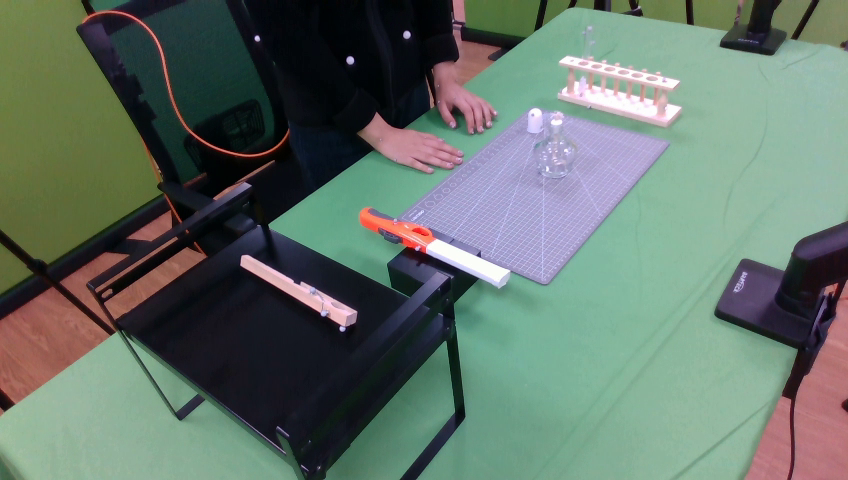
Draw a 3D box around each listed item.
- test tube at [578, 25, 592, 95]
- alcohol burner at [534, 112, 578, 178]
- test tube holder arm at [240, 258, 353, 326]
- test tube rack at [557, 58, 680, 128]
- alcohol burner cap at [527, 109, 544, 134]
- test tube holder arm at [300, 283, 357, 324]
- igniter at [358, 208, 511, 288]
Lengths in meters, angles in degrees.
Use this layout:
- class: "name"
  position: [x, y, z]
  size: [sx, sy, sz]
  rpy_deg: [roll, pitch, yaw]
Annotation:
- class: "test tube"
  position: [0.326, -0.362, 1.227]
  size: [0.017, 0.151, 0.017]
  rpy_deg: [-3, 44, 4]
- class: "alcohol burner"
  position: [0.232, -0.170, 1.065]
  size: [0.078, 0.119, 0.077]
  rpy_deg: [-5, 39, 5]
- class: "test tube holder arm"
  position: [-0.143, 0.053, 0.658]
  size: [0.177, 0.015, 0.013]
  rpy_deg: [21, 14, 32]
- class: "test tube rack"
  position: [0.395, -0.309, 1.230]
  size: [0.240, 0.085, 0.067]
  rpy_deg: [25, 50, 33]
- class: "alcohol burner cap"
  position: [0.222, -0.238, 1.203]
  size: [0.034, 0.048, 0.033]
  rpy_deg: [-5, 41, 5]
- class: "test tube holder arm"
  position: [-0.105, 0.066, 0.638]
  size: [0.087, 0.015, 0.010]
  rpy_deg: [21, 14, 33]
- class: "igniter"
  position: [0.005, 0.005, 0.892]
  size: [0.274, 0.025, 0.057]
  rpy_deg: [24, 38, 31]
